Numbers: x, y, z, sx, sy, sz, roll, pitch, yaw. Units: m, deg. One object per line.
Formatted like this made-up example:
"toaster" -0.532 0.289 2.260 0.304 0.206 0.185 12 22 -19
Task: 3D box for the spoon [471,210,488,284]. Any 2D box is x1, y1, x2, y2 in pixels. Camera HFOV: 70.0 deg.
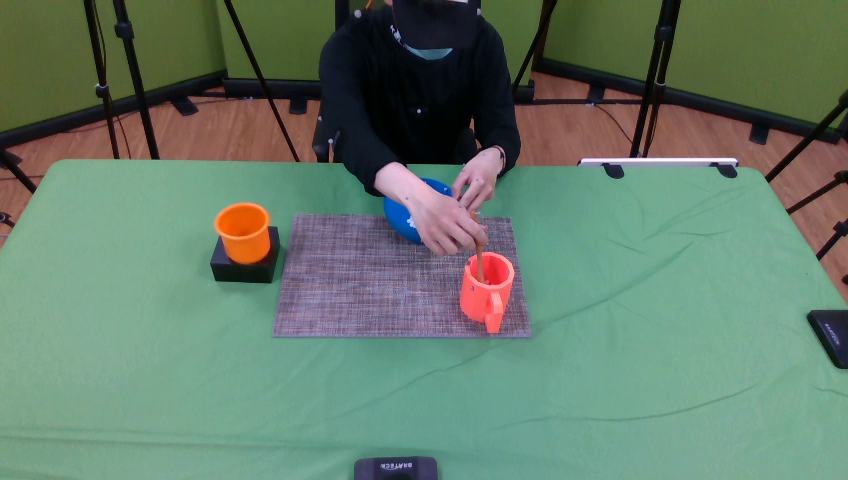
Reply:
"spoon" 0.093 0.033 1.014 0.041 0.194 0.021 17 37 37

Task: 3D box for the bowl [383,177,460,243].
"bowl" -0.006 -0.048 1.197 0.151 0.077 0.150 2 46 -2

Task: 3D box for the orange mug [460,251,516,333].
"orange mug" 0.114 0.095 1.053 0.083 0.101 0.125 -5 42 -9
